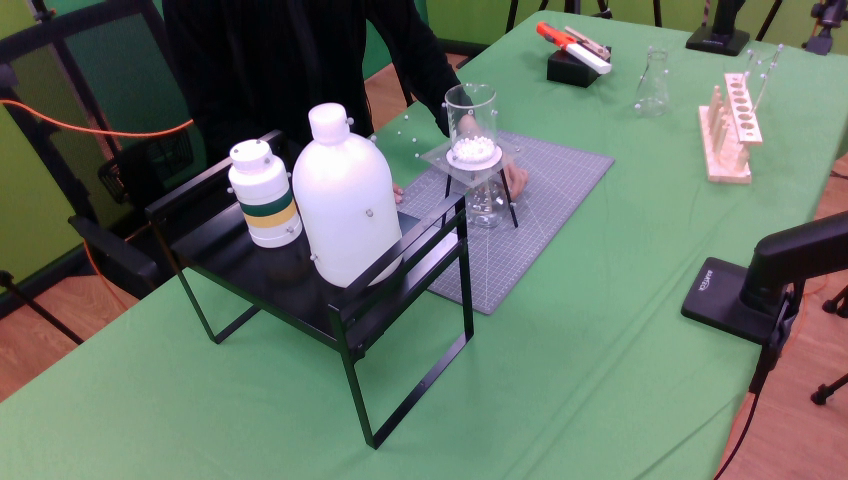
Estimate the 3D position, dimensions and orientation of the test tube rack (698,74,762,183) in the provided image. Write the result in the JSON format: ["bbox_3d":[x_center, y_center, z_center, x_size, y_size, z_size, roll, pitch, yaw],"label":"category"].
[{"bbox_3d":[0.547,-0.208,1.095,0.066,0.085,0.242,5,42,15],"label":"test tube rack"}]

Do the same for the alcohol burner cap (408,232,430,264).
[{"bbox_3d":[-0.010,0.010,0.947,0.034,0.048,0.033,-4,41,4],"label":"alcohol burner cap"}]

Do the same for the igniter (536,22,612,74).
[{"bbox_3d":[0.330,-0.439,1.366,0.057,0.025,0.274,-11,41,-20],"label":"igniter"}]

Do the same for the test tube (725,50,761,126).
[{"bbox_3d":[0.570,-0.269,1.086,0.017,0.151,0.017,-1,45,1],"label":"test tube"}]

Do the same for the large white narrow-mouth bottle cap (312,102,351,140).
[{"bbox_3d":[-0.089,-0.114,0.579,0.038,0.024,0.037,-3,39,3],"label":"large white narrow-mouth bottle cap"}]

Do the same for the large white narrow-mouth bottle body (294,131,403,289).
[{"bbox_3d":[-0.082,-0.047,0.634,0.102,0.195,0.101,-4,40,3],"label":"large white narrow-mouth bottle body"}]

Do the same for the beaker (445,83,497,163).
[{"bbox_3d":[0.073,-0.175,0.904,0.074,0.101,0.084,3,41,13],"label":"beaker"}]

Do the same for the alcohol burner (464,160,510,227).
[{"bbox_3d":[0.102,-0.081,0.982,0.078,0.119,0.077,-4,43,4],"label":"alcohol burner"}]

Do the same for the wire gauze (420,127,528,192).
[{"bbox_3d":[0.076,-0.131,0.927,0.122,0.011,0.124,-34,49,-25],"label":"wire gauze"}]

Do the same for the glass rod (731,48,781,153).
[{"bbox_3d":[0.554,-0.228,1.014,0.008,0.200,0.008,1,44,-1],"label":"glass rod"}]

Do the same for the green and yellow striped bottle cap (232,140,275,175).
[{"bbox_3d":[-0.192,-0.093,0.680,0.045,0.020,0.045,-5,39,5],"label":"green and yellow striped bottle cap"}]

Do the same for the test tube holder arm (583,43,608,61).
[{"bbox_3d":[0.379,-0.420,1.341,0.010,0.015,0.087,-39,41,10],"label":"test tube holder arm"}]

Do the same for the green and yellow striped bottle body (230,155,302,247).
[{"bbox_3d":[-0.188,-0.055,0.714,0.063,0.120,0.063,-4,41,4],"label":"green and yellow striped bottle body"}]

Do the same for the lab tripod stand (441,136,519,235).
[{"bbox_3d":[0.083,-0.086,0.976,0.148,0.132,0.147,-4,43,4],"label":"lab tripod stand"}]

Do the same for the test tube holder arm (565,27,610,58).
[{"bbox_3d":[0.369,-0.450,1.373,0.013,0.015,0.177,-39,41,10],"label":"test tube holder arm"}]

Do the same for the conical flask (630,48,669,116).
[{"bbox_3d":[0.456,-0.317,1.205,0.075,0.122,0.075,-4,41,4],"label":"conical flask"}]
